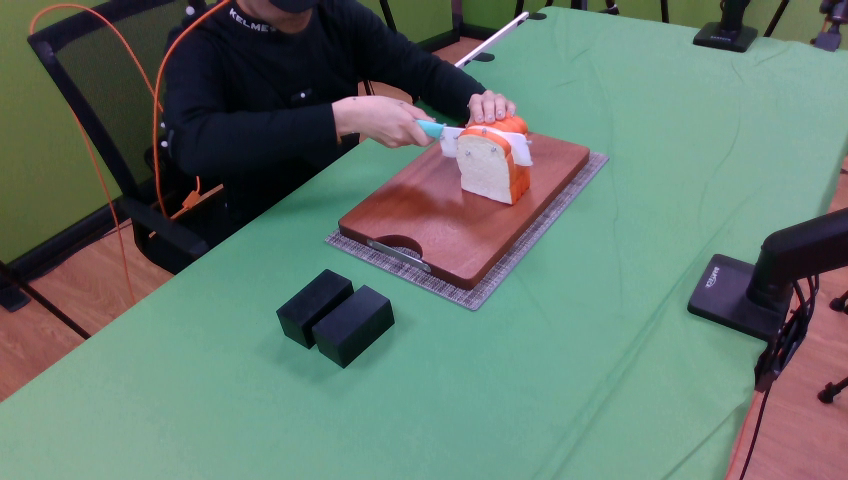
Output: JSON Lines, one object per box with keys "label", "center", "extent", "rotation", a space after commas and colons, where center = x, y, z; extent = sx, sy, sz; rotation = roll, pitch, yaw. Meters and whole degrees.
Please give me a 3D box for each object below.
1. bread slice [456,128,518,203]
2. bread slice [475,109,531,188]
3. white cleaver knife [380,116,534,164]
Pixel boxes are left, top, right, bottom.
{"label": "bread slice", "center": [0.097, -0.120, 0.969], "extent": [0.104, 0.132, 0.019], "rotation": [18, 52, 28]}
{"label": "bread slice", "center": [0.129, -0.151, 0.999], "extent": [0.106, 0.135, 0.018], "rotation": [20, 47, 25]}
{"label": "white cleaver knife", "center": [0.043, -0.161, 0.986], "extent": [0.284, 0.066, 0.021], "rotation": [14, 47, 32]}
